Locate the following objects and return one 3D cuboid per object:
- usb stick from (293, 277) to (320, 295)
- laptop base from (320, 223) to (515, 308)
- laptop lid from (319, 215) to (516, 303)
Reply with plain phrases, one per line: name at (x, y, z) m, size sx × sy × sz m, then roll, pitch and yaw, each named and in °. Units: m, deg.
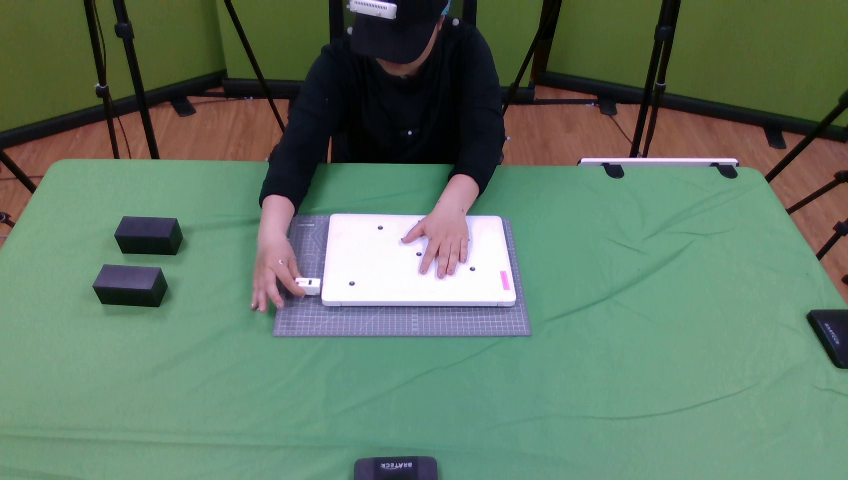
usb stick at (-0.203, 0.084, 1.083) m, size 0.059 × 0.027 × 0.021 m, roll 8°, pitch 50°, yaw -6°
laptop base at (-0.013, 0.039, 1.161) m, size 0.355 × 0.023 × 0.234 m, roll 0°, pitch 42°, yaw -4°
laptop lid at (-0.013, 0.030, 1.155) m, size 0.357 × 0.013 × 0.240 m, roll 2°, pitch 43°, yaw -3°
